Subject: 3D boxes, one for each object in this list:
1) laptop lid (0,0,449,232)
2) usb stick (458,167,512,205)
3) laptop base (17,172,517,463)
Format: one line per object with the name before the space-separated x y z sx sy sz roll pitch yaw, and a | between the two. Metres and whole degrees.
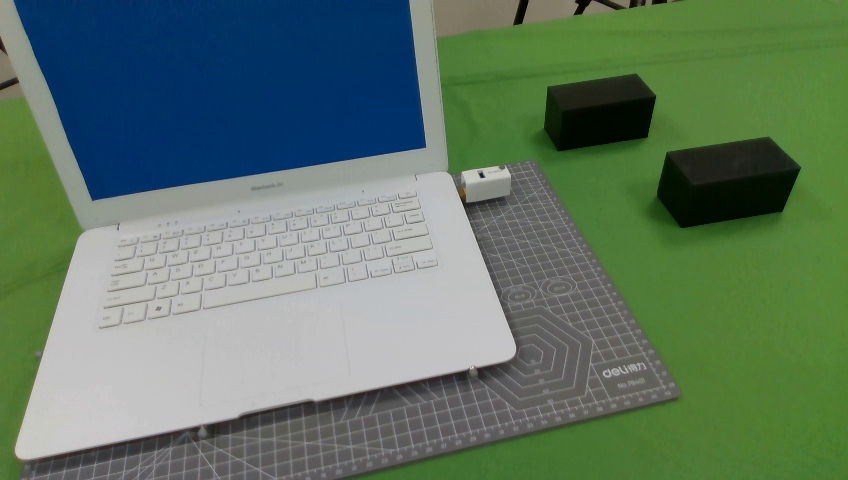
laptop lid | -0.159 -0.136 0.535 0.357 0.243 0.013 -12 29 -6
usb stick | 0.053 -0.051 0.579 0.059 0.027 0.021 -12 44 -5
laptop base | -0.123 0.045 0.507 0.355 0.023 0.233 -10 46 -6
